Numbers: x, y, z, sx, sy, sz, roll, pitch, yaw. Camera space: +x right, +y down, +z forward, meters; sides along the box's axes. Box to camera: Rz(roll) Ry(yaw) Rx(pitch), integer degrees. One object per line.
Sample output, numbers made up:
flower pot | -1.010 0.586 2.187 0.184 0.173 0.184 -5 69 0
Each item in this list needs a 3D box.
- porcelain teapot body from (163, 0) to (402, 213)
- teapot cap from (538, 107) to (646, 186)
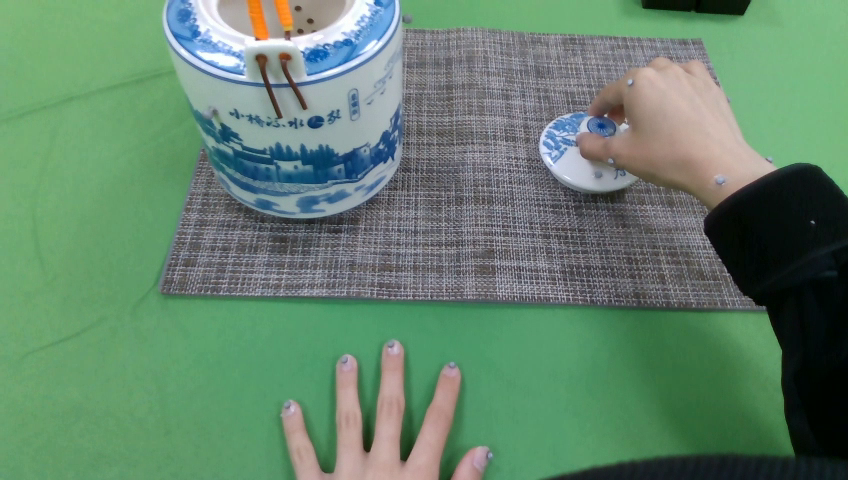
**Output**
porcelain teapot body | -0.089 -0.154 0.407 0.145 0.227 0.203 -4 56 -5
teapot cap | 0.133 -0.079 0.478 0.085 0.044 0.084 0 54 1
